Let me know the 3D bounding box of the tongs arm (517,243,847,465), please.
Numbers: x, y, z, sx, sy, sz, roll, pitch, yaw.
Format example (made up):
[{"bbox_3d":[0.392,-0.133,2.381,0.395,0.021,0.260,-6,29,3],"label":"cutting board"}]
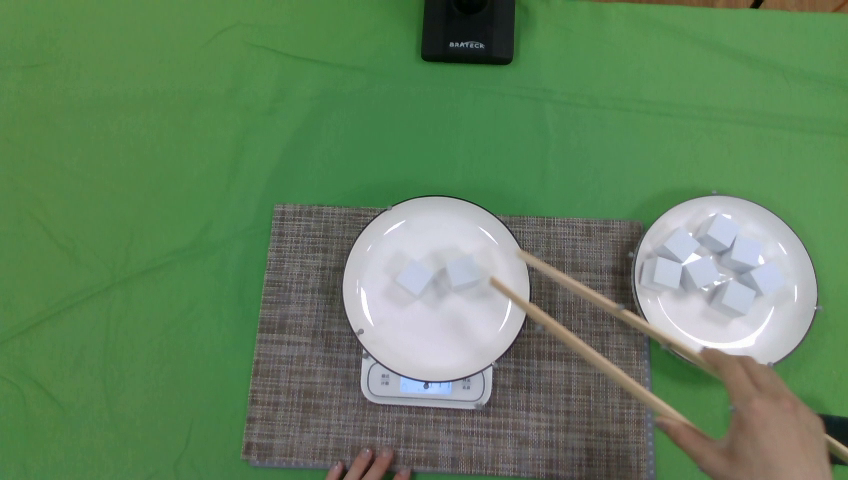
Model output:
[{"bbox_3d":[0.232,0.118,0.540,0.382,0.027,0.050,32,71,23],"label":"tongs arm"}]

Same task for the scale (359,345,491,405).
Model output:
[{"bbox_3d":[0.005,0.084,0.697,0.148,0.032,0.200,3,77,2],"label":"scale"}]

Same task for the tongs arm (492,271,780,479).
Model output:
[{"bbox_3d":[0.214,0.137,0.533,0.384,0.028,0.028,35,69,24],"label":"tongs arm"}]

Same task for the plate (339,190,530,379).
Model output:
[{"bbox_3d":[0.011,0.048,0.672,0.209,0.038,0.208,0,77,0],"label":"plate"}]

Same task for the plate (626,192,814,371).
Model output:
[{"bbox_3d":[0.336,0.048,0.702,0.208,0.039,0.206,0,77,1],"label":"plate"}]
